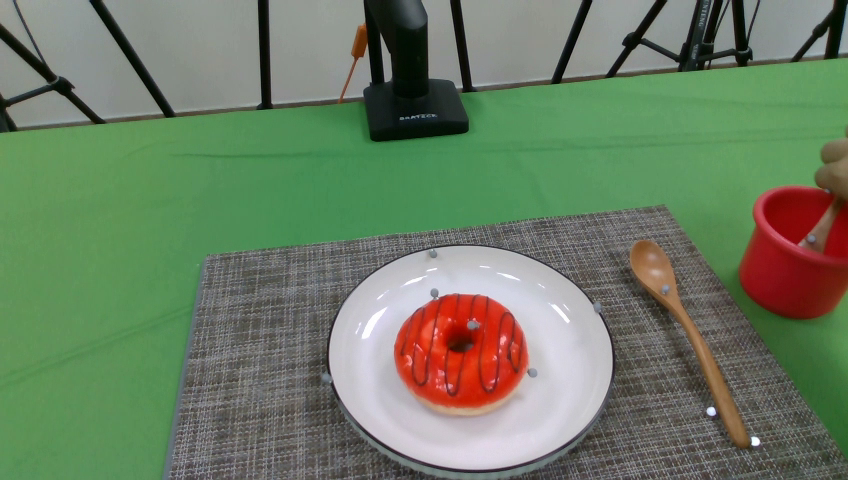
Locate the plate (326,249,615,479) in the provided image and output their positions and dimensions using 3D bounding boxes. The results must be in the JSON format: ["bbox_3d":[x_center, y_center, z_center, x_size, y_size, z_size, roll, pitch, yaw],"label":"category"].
[{"bbox_3d":[0.034,0.088,0.452,0.209,0.038,0.207,0,41,1],"label":"plate"}]

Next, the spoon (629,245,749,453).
[{"bbox_3d":[0.205,0.075,0.475,0.042,0.022,0.191,9,39,-15],"label":"spoon"}]

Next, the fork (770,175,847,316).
[{"bbox_3d":[0.345,-0.030,0.505,0.028,0.019,0.207,28,91,24],"label":"fork"}]

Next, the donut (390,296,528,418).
[{"bbox_3d":[0.025,0.084,0.440,0.099,0.049,0.098,-1,44,2],"label":"donut"}]
